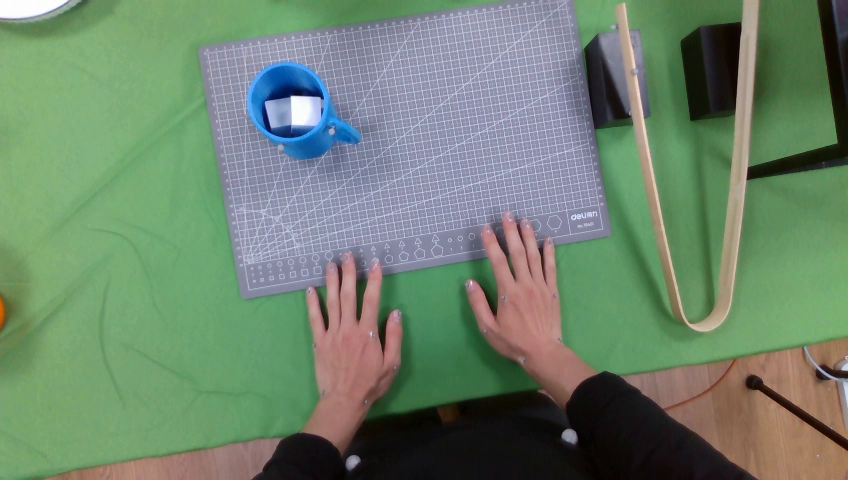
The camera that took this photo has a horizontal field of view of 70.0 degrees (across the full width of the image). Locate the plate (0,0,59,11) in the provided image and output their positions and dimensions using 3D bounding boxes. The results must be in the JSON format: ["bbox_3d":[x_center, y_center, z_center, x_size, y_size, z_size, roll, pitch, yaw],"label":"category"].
[{"bbox_3d":[-0.460,-0.358,0.680,0.208,0.039,0.207,0,91,-3],"label":"plate"}]

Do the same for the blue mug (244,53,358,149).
[{"bbox_3d":[-0.128,-0.143,0.665,0.117,0.106,0.082,20,89,-3],"label":"blue mug"}]

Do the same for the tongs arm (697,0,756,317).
[{"bbox_3d":[0.351,-0.099,0.699,0.028,0.027,0.388,-2,102,-11],"label":"tongs arm"}]

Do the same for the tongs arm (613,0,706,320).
[{"bbox_3d":[0.271,-0.086,0.692,0.051,0.026,0.386,-15,103,-5],"label":"tongs arm"}]
